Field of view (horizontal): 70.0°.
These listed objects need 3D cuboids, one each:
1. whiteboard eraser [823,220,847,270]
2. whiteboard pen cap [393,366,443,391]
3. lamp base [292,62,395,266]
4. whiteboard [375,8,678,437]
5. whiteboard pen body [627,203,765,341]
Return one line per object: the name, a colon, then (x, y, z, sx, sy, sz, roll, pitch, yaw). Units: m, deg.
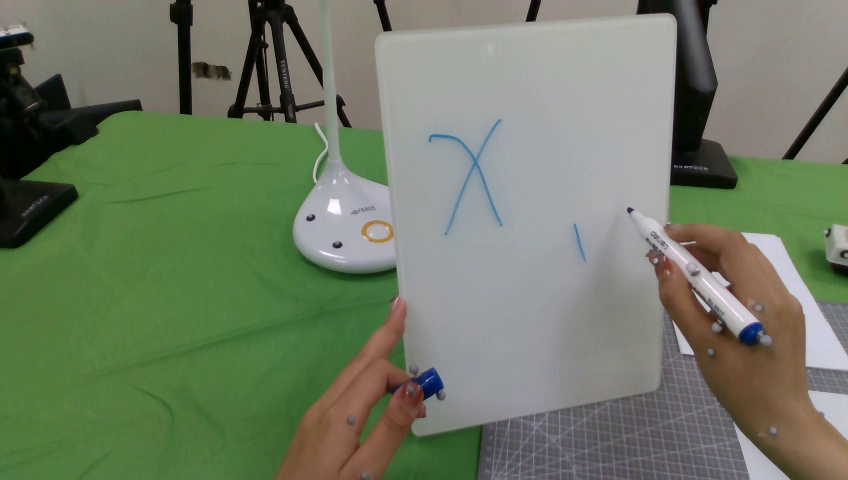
whiteboard eraser: (0.491, 0.016, 0.645, 0.112, 0.042, 0.055, 16, 40, 19)
whiteboard pen cap: (-0.003, 0.091, 0.398, 0.033, 0.018, 0.018, -8, 27, 37)
lamp base: (-0.077, -0.089, 0.657, 0.161, 0.182, 0.177, -25, 41, -31)
whiteboard: (0.072, -0.023, 0.513, 0.218, 0.307, 0.143, -8, 18, -10)
whiteboard pen body: (0.173, 0.014, 0.402, 0.017, 0.017, 0.139, -9, 39, -13)
